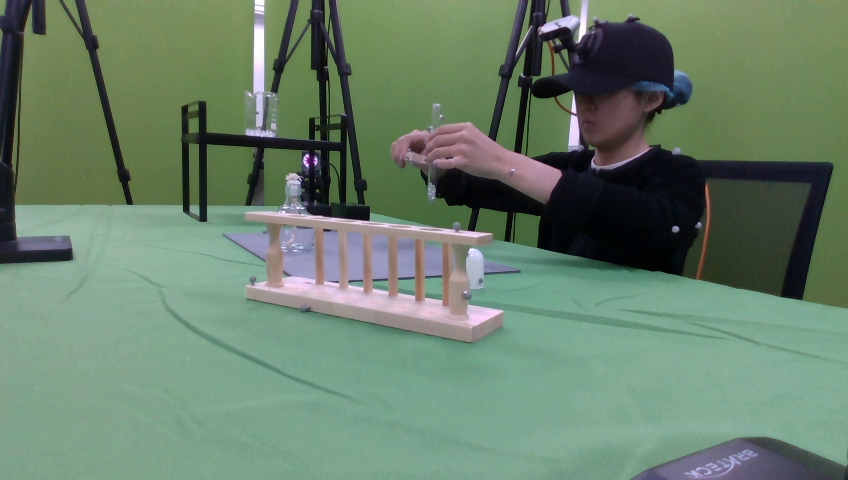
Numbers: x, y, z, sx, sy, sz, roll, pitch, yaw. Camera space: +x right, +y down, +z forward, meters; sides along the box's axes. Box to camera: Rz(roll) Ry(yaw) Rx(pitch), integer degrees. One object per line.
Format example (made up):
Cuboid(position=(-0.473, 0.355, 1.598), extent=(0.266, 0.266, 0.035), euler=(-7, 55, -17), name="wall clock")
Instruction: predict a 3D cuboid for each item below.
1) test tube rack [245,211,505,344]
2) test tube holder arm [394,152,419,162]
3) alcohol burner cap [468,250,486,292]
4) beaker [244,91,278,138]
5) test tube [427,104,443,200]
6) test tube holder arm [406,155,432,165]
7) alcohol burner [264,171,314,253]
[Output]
Cuboid(position=(-0.049, 0.025, 0.547), extent=(0.241, 0.085, 0.067), euler=(7, 8, 29), name="test tube rack")
Cuboid(position=(-0.033, -0.146, 1.057), extent=(0.013, 0.015, 0.178), euler=(17, 4, -16), name="test tube holder arm")
Cuboid(position=(0.056, 0.035, 0.690), extent=(0.034, 0.048, 0.034), euler=(2, 7, 0), name="alcohol burner cap")
Cuboid(position=(-0.368, -0.280, 1.356), extent=(0.074, 0.100, 0.084), euler=(4, 8, 6), name="beaker")
Cuboid(position=(0.017, -0.138, 0.951), extent=(0.017, 0.150, 0.017), euler=(4, 8, 0), name="test tube")
Cuboid(position=(-0.013, -0.137, 1.018), extent=(0.010, 0.015, 0.087), euler=(15, 5, -32), name="test tube holder arm")
Cuboid(position=(-0.194, -0.042, 0.888), extent=(0.078, 0.119, 0.078), euler=(3, 5, 0), name="alcohol burner")
